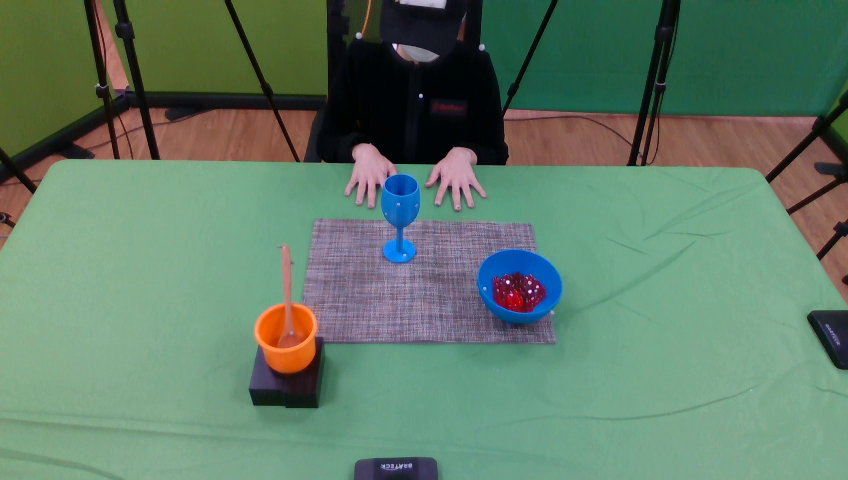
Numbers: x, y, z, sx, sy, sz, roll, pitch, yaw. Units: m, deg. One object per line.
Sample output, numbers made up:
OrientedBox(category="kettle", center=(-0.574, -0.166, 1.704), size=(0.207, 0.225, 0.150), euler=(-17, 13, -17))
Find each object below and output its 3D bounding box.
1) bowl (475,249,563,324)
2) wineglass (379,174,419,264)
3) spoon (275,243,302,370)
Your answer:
OrientedBox(category="bowl", center=(0.163, 0.096, 1.074), size=(0.151, 0.077, 0.150), euler=(2, 46, -2))
OrientedBox(category="wineglass", center=(-0.046, -0.036, 1.120), size=(0.074, 0.173, 0.073), euler=(2, 46, -2))
OrientedBox(category="spoon", center=(-0.209, 0.101, 0.927), size=(0.041, 0.193, 0.021), euler=(-1, 2, -6))
